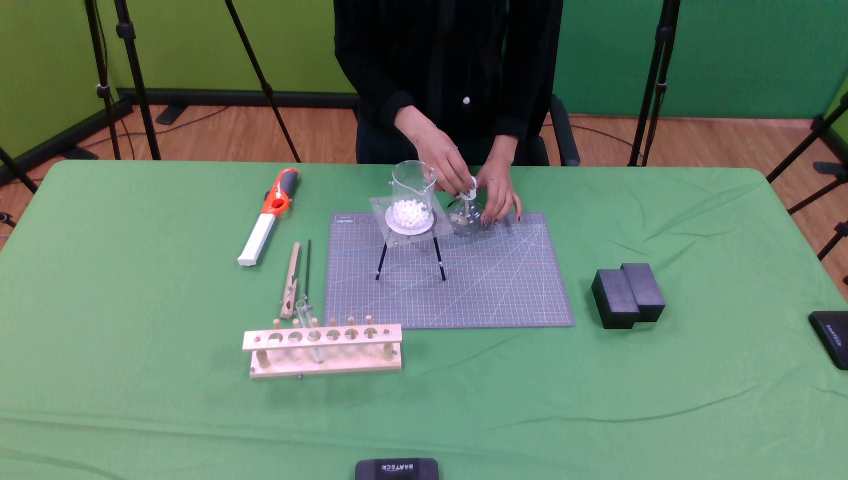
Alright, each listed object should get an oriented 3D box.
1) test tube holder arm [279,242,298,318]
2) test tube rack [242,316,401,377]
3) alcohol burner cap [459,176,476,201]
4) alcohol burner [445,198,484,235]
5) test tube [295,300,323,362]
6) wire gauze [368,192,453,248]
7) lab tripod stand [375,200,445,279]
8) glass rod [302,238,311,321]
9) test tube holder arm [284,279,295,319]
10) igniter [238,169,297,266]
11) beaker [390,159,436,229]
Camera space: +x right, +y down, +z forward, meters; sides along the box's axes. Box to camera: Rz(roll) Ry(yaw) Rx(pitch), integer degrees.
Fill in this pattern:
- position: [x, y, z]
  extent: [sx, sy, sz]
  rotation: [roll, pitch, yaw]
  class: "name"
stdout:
- position: [-0.248, 0.069, 1.114]
  extent: [0.013, 0.015, 0.177]
  rotation: [25, 38, -26]
  class: "test tube holder arm"
- position: [-0.161, 0.166, 0.983]
  extent: [0.242, 0.085, 0.066]
  rotation: [-2, 46, -6]
  class: "test tube rack"
- position: [0.085, -0.101, 1.161]
  extent: [0.034, 0.048, 0.033]
  rotation: [1, 50, -1]
  class: "alcohol burner cap"
- position: [0.082, -0.066, 1.203]
  extent: [0.078, 0.120, 0.077]
  rotation: [2, 48, -2]
  class: "alcohol burner"
- position: [-0.176, 0.143, 0.935]
  extent: [0.017, 0.151, 0.017]
  rotation: [-2, 46, 2]
  class: "test tube"
- position: [-0.025, -0.041, 1.065]
  extent: [0.122, 0.011, 0.124]
  rotation: [-10, 46, -18]
  class: "wire gauze"
- position: [-0.023, 0.003, 1.114]
  extent: [0.148, 0.132, 0.147]
  rotation: [4, 45, -3]
  class: "lab tripod stand"
- position: [-0.217, 0.069, 1.125]
  extent: [0.008, 0.008, 0.198]
  rotation: [-1, 47, -5]
  class: "glass rod"
- position: [-0.241, 0.103, 1.085]
  extent: [0.010, 0.015, 0.087]
  rotation: [25, 38, -26]
  class: "test tube holder arm"
- position: [-0.313, -0.055, 1.224]
  extent: [0.057, 0.025, 0.275]
  rotation: [1, 45, 10]
  class: "igniter"
- position: [-0.020, -0.073, 1.029]
  extent: [0.074, 0.101, 0.083]
  rotation: [-10, 48, -16]
  class: "beaker"
